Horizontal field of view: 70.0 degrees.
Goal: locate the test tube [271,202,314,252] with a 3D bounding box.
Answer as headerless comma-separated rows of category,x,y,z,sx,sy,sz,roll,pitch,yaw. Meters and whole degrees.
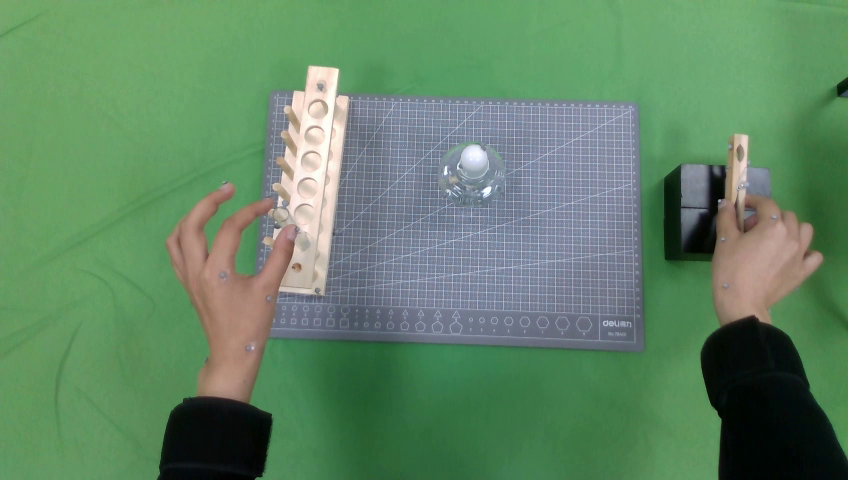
test tube,-0.132,-0.008,0.618,0.017,0.151,0.017,0,75,0

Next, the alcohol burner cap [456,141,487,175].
alcohol burner cap,0.049,-0.088,0.632,0.034,0.048,0.034,0,85,3

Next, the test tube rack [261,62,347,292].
test tube rack,-0.139,-0.069,0.678,0.067,0.085,0.241,6,80,1

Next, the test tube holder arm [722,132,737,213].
test tube holder arm,0.329,-0.072,0.653,0.010,0.015,0.087,4,83,6

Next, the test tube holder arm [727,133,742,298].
test tube holder arm,0.332,-0.027,0.647,0.013,0.015,0.178,3,83,5

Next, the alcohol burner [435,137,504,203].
alcohol burner,0.051,-0.081,0.667,0.078,0.119,0.077,0,82,1
